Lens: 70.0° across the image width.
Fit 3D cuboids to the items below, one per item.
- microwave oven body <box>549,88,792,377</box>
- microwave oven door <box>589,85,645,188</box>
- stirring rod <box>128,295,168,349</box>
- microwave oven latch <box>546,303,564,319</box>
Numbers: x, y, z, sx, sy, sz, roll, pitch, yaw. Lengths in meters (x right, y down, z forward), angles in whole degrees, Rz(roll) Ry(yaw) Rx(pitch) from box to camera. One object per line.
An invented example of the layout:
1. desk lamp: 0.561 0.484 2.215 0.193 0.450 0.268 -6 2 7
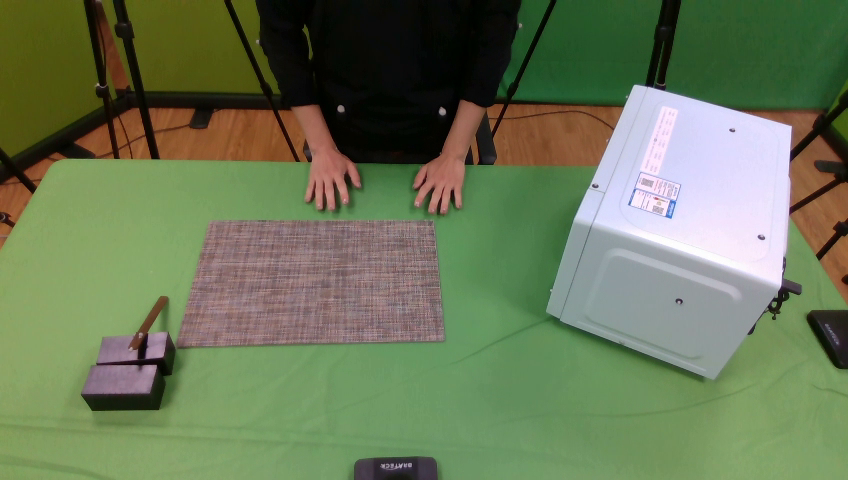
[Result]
1. microwave oven body: 0.456 -0.028 1.088 0.325 0.261 0.440 20 47 16
2. microwave oven door: 0.342 -0.107 1.149 0.039 0.245 0.354 20 48 15
3. stirring rod: -0.451 0.131 0.996 0.014 0.006 0.175 9 21 -10
4. microwave oven latch: 0.242 0.102 1.081 0.030 0.029 0.079 21 48 17
